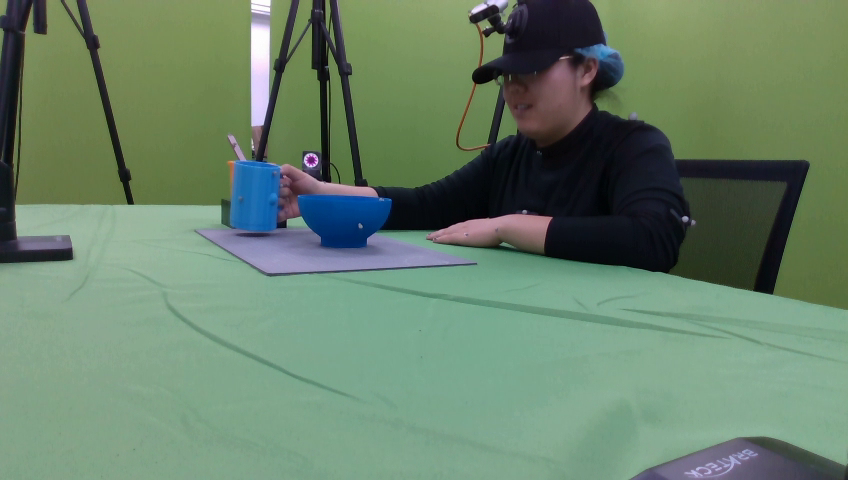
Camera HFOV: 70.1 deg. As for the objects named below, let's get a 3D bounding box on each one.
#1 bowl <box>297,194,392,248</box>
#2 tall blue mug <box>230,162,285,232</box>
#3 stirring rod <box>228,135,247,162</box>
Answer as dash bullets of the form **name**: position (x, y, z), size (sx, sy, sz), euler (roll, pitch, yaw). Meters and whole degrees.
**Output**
- **bowl**: position (-0.127, -0.030, 0.964), size (0.151, 0.077, 0.151), euler (2, 7, 0)
- **tall blue mug**: position (-0.288, -0.078, 1.043), size (0.078, 0.108, 0.107), euler (6, 12, -4)
- **stirring rod**: position (-0.352, -0.147, 1.198), size (0.014, 0.006, 0.175), euler (-6, 53, -44)
